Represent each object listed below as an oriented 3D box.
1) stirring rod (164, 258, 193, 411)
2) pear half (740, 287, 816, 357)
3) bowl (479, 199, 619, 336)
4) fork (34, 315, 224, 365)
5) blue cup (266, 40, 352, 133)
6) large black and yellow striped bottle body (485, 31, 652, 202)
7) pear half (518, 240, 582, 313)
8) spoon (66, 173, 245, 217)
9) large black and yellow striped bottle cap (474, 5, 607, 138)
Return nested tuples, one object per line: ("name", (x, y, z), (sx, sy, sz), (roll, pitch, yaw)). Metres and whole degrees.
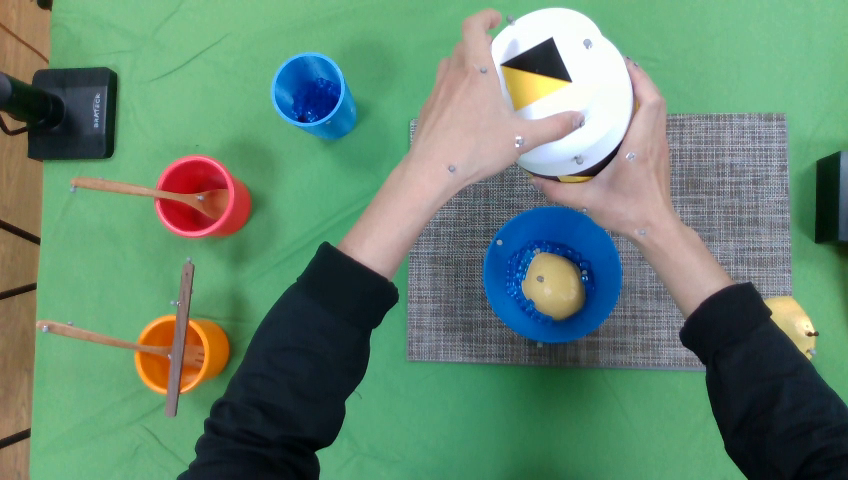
("stirring rod", (-0.281, 0.107, 0.694), (0.014, 0.006, 0.176), (5, 87, 4))
("pear half", (0.380, 0.091, 0.652), (0.056, 0.110, 0.076), (-19, 80, 5))
("bowl", (0.139, 0.033, 0.694), (0.151, 0.077, 0.151), (0, 86, 6))
("fork", (-0.333, 0.115, 0.701), (0.209, 0.018, 0.028), (22, 98, -37))
("blue cup", (-0.128, -0.170, 0.725), (0.092, 0.100, 0.092), (-1, 85, 8))
("large black and yellow striped bottle body", (0.138, -0.123, 0.586), (0.130, 0.186, 0.130), (-9, 71, 29))
("pear half", (0.142, 0.039, 0.687), (0.070, 0.031, 0.087), (-26, 81, 0))
("spoon", (-0.309, -0.058, 0.714), (0.195, 0.021, 0.041), (9, 88, -37))
("large black and yellow striped bottle cap", (0.096, -0.144, 0.516), (0.114, 0.019, 0.114), (-9, 73, 30))
